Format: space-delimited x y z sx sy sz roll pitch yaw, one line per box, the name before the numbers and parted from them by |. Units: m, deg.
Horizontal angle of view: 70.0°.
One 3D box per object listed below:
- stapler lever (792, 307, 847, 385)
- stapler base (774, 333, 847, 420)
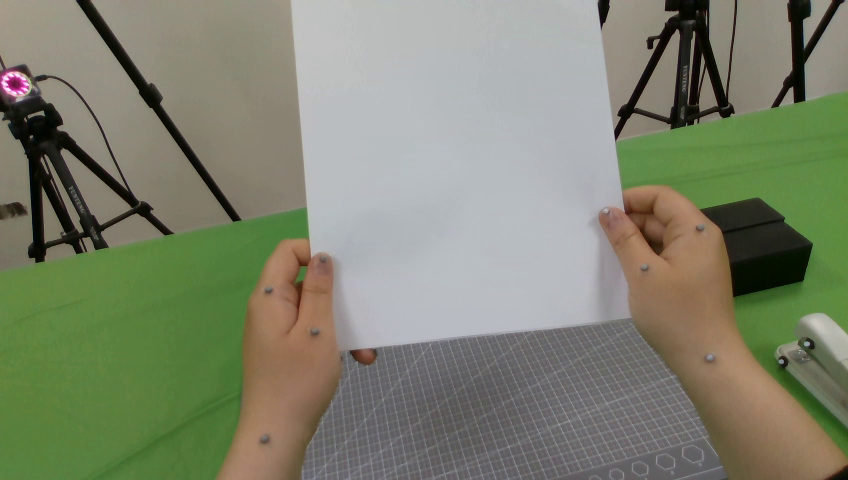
stapler lever | 0.364 0.103 0.515 0.027 0.040 0.117 -15 35 -6
stapler base | 0.366 0.122 0.530 0.041 0.024 0.129 -15 36 -6
